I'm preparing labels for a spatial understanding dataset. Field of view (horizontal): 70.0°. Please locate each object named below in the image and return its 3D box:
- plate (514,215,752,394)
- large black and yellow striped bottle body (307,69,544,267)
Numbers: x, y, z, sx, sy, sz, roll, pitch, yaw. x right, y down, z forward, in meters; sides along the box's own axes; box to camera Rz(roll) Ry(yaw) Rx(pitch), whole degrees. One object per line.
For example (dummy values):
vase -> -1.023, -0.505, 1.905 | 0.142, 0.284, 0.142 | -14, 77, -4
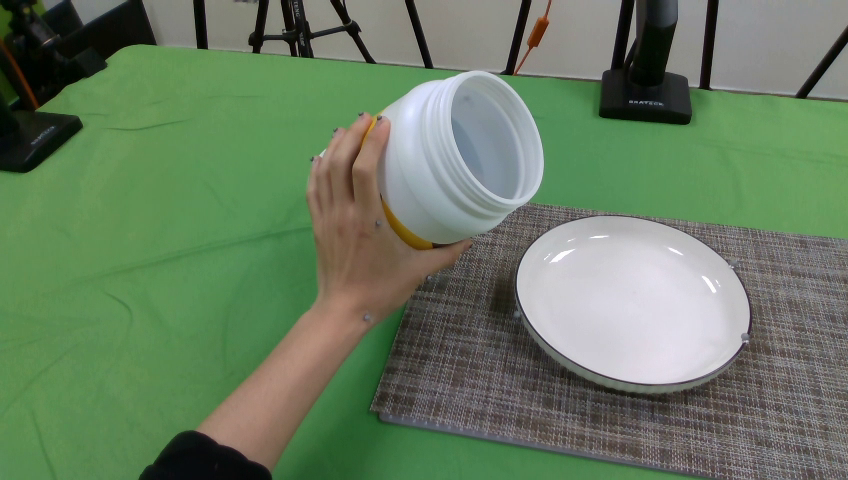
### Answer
plate -> 0.187, 0.057, 0.561 | 0.207, 0.039, 0.205 | -1, 43, 1
large black and yellow striped bottle body -> -0.001, -0.057, 0.522 | 0.183, 0.131, 0.130 | -20, 25, 46
